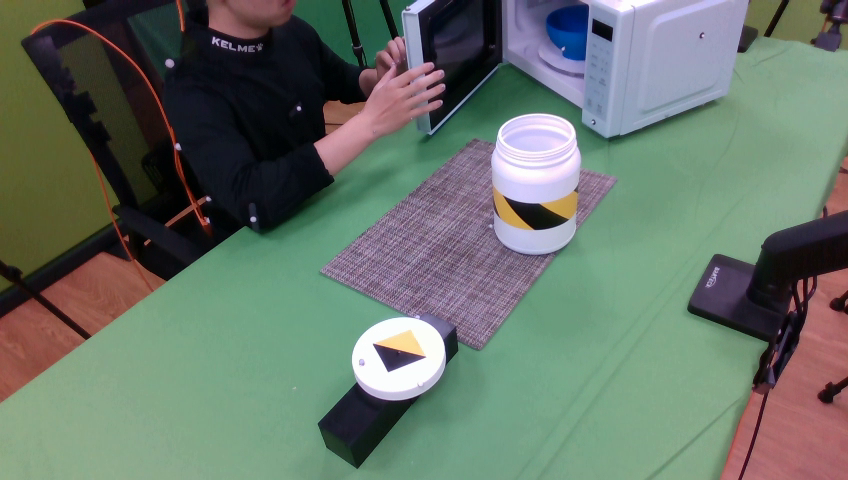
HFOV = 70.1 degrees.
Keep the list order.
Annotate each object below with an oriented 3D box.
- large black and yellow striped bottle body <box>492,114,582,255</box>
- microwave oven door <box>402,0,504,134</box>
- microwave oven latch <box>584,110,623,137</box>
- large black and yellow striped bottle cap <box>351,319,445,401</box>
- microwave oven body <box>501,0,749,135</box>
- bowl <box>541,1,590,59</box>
[{"bbox_3d":[0.169,-0.083,0.912,0.131,0.185,0.130,-4,41,4],"label":"large black and yellow striped bottle body"},{"bbox_3d":[0.073,-0.411,1.243,0.039,0.245,0.356,17,46,26],"label":"microwave oven door"},{"bbox_3d":[0.337,-0.222,1.142,0.030,0.029,0.078,-21,42,-14],"label":"microwave oven latch"},{"bbox_3d":[-0.031,0.143,0.734,0.115,0.019,0.114,-3,40,3],"label":"large black and yellow striped bottle cap"},{"bbox_3d":[0.382,-0.444,1.246,0.327,0.261,0.437,-22,42,-16],"label":"microwave oven body"},{"bbox_3d":[0.328,-0.436,1.279,0.151,0.077,0.150,-13,39,11],"label":"bowl"}]
